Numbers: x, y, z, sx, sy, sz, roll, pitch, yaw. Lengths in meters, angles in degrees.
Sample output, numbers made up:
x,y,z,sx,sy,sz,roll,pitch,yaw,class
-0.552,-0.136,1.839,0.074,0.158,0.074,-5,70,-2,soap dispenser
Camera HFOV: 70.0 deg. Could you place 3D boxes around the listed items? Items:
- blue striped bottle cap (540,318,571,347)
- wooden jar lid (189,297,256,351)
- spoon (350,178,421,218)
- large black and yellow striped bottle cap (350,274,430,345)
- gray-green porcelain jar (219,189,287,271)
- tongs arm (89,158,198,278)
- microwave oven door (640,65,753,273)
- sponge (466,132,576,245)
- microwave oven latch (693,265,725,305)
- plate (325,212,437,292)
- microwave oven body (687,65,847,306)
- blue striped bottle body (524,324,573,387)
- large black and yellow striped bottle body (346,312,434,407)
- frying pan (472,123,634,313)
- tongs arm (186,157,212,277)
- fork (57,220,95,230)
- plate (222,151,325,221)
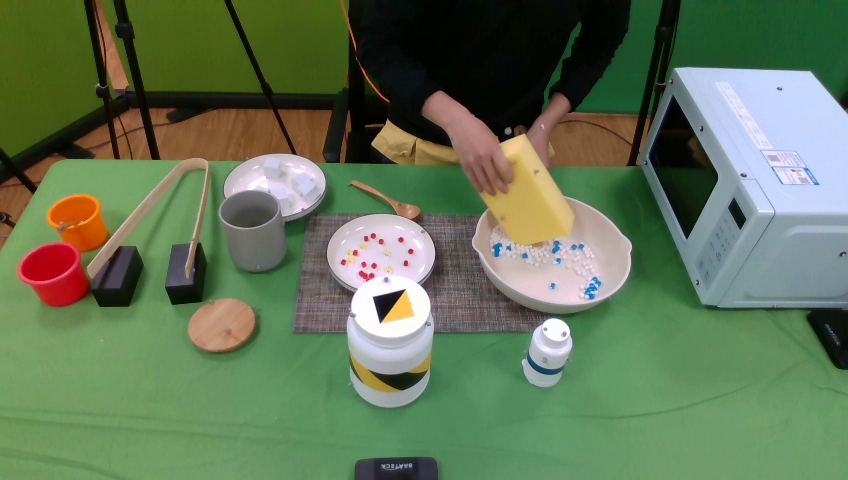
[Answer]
x,y,z,sx,sy,sz,roll,pitch,yaw,class
0.203,0.142,0.933,0.044,0.021,0.044,3,49,-4,blue striped bottle cap
-0.342,0.145,1.033,0.108,0.021,0.107,2,45,-2,wooden jar lid
-0.084,-0.092,1.272,0.193,0.022,0.041,31,69,25,spoon
-0.048,0.097,0.867,0.115,0.019,0.114,3,48,-3,large black and yellow striped bottle cap
-0.310,-0.014,1.113,0.106,0.127,0.105,2,46,-2,gray-green porcelain jar
-0.530,-0.057,1.164,0.028,0.028,0.385,1,36,8,tongs arm
0.523,-0.147,1.193,0.039,0.245,0.353,0,47,-3,microwave oven door
0.186,-0.092,1.146,0.118,0.208,0.060,-17,34,37,sponge
0.523,0.082,1.116,0.030,0.029,0.078,2,46,-1,microwave oven latch
-0.080,0.030,1.143,0.209,0.038,0.208,3,46,-3,plate
0.669,-0.111,1.176,0.326,0.261,0.439,0,46,-3,microwave oven body
0.200,0.178,0.970,0.063,0.121,0.062,2,46,-1,blue striped bottle body
-0.052,0.157,0.929,0.131,0.185,0.130,2,47,-2,large black and yellow striped bottle body
0.235,-0.060,1.207,0.307,0.103,0.484,1,55,-6,frying pan
-0.445,-0.058,1.168,0.051,0.026,0.382,-5,37,-6,tongs arm
-0.624,-0.027,1.087,0.028,0.207,0.018,-3,92,-17,fork
-0.310,-0.106,1.262,0.208,0.039,0.206,2,47,-2,plate
